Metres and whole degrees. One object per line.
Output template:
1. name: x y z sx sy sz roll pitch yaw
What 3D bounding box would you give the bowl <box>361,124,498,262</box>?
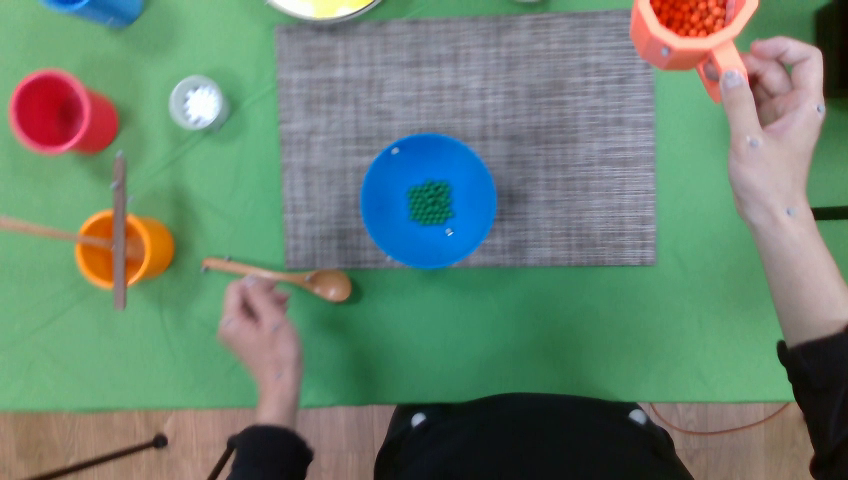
1. bowl: 0.009 -0.052 0.697 0.151 0.077 0.151 0 93 4

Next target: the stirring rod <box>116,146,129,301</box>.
1. stirring rod: -0.342 -0.018 0.687 0.014 0.006 0.176 2 93 2

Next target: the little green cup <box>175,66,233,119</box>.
1. little green cup: -0.263 -0.175 0.731 0.061 0.038 0.061 0 93 5

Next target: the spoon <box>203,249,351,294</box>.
1. spoon: -0.182 0.032 0.745 0.193 0.021 0.042 11 106 3

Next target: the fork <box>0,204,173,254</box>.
1. fork: -0.394 -0.015 0.694 0.209 0.018 0.028 16 97 -40

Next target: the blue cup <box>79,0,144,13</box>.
1. blue cup: -0.374 -0.309 0.700 0.092 0.100 0.092 0 93 6

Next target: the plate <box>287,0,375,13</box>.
1. plate: -0.107 -0.369 0.711 0.209 0.038 0.209 0 93 4

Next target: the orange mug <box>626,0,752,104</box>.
1. orange mug: 0.219 -0.171 0.492 0.083 0.101 0.126 -29 84 17
